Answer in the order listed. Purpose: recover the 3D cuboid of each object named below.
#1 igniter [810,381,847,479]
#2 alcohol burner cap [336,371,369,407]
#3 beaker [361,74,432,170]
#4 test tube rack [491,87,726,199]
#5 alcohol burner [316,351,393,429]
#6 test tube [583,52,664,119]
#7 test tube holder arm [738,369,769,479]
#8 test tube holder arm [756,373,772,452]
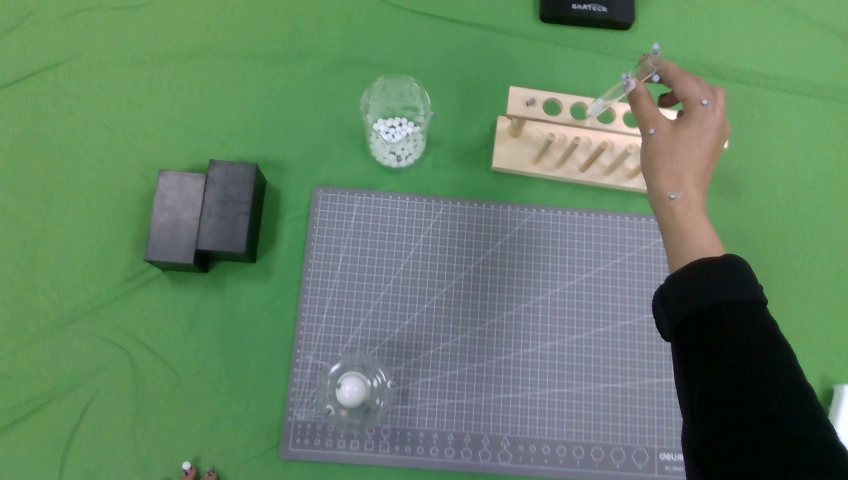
[{"bbox_3d":[0.419,0.283,0.644,0.057,0.025,0.275,26,76,-8],"label":"igniter"},{"bbox_3d":[-0.068,0.141,0.563,0.034,0.048,0.033,1,82,-3],"label":"alcohol burner cap"},{"bbox_3d":[-0.032,-0.124,0.676,0.074,0.100,0.083,7,76,-1],"label":"beaker"},{"bbox_3d":[0.206,-0.108,0.695,0.242,0.085,0.066,8,76,-1],"label":"test tube rack"},{"bbox_3d":[-0.069,0.148,0.599,0.078,0.119,0.077,1,75,-5],"label":"alcohol burner"},{"bbox_3d":[0.184,-0.142,0.574,0.017,0.150,0.017,1,85,-6],"label":"test tube"},{"bbox_3d":[0.353,0.229,0.655,0.013,0.015,0.177,24,75,-29],"label":"test tube holder arm"},{"bbox_3d":[0.370,0.189,0.669,0.010,0.015,0.087,25,74,-29],"label":"test tube holder arm"}]
